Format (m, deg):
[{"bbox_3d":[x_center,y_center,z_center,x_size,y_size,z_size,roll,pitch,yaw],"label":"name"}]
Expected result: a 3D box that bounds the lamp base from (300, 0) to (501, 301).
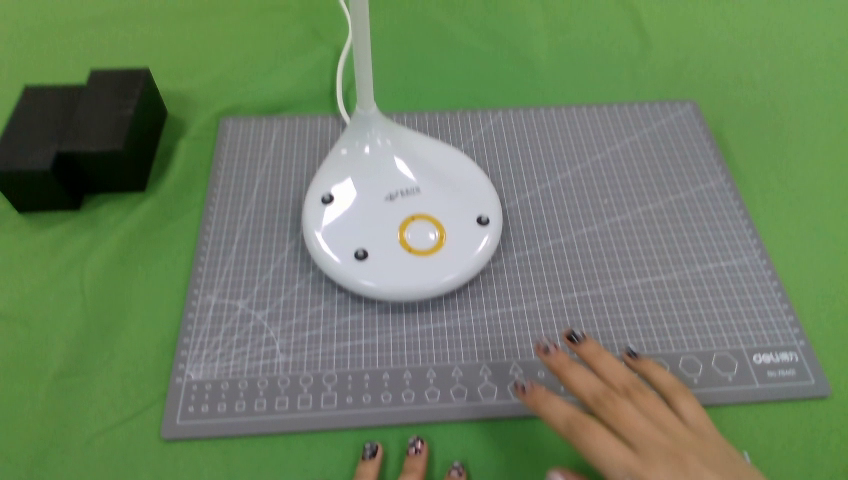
[{"bbox_3d":[-0.025,-0.074,0.430,0.161,0.182,0.177,-26,55,-19],"label":"lamp base"}]
